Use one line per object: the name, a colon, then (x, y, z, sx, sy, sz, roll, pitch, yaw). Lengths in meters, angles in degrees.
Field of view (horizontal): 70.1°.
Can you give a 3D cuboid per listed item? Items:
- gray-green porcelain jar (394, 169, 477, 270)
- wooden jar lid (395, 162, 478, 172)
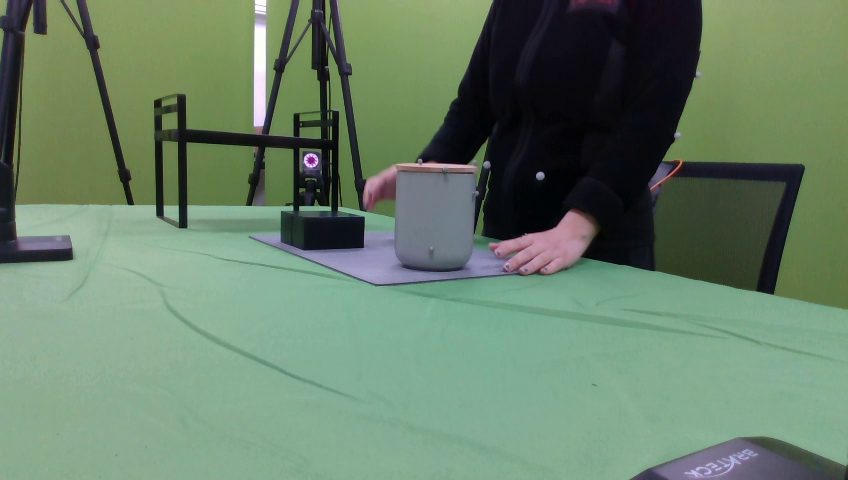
gray-green porcelain jar: (0.014, -0.029, 0.793, 0.106, 0.126, 0.106, 2, 7, 0)
wooden jar lid: (0.016, -0.090, 0.785, 0.108, 0.020, 0.108, 2, 10, 0)
